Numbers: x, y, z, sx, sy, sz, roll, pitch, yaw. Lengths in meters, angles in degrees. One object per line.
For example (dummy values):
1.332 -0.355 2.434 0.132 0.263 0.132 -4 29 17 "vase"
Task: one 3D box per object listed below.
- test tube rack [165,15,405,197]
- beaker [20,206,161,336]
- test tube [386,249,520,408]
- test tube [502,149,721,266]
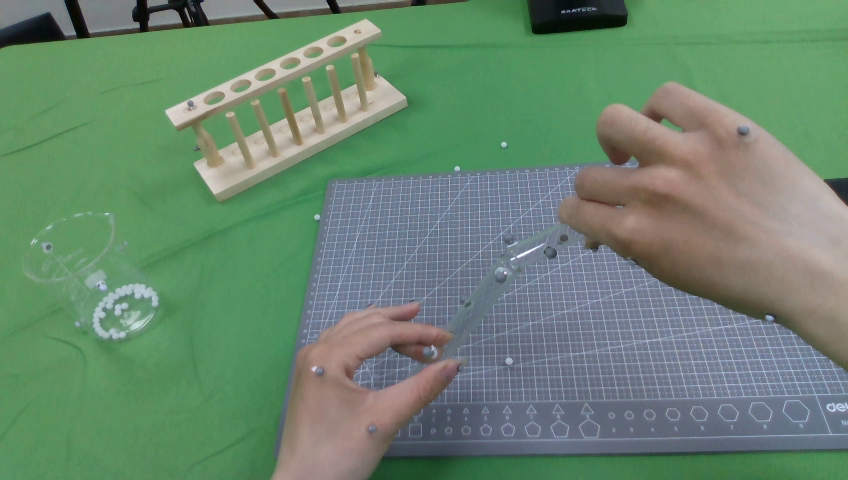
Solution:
-0.144 -0.151 0.666 0.242 0.086 0.066 -31 53 -17 "test tube rack"
-0.282 0.029 0.528 0.073 0.101 0.083 20 55 22 "beaker"
0.014 0.063 0.391 0.017 0.151 0.017 25 31 -16 "test tube"
0.115 -0.021 0.365 0.150 0.017 0.017 -24 51 -10 "test tube"
